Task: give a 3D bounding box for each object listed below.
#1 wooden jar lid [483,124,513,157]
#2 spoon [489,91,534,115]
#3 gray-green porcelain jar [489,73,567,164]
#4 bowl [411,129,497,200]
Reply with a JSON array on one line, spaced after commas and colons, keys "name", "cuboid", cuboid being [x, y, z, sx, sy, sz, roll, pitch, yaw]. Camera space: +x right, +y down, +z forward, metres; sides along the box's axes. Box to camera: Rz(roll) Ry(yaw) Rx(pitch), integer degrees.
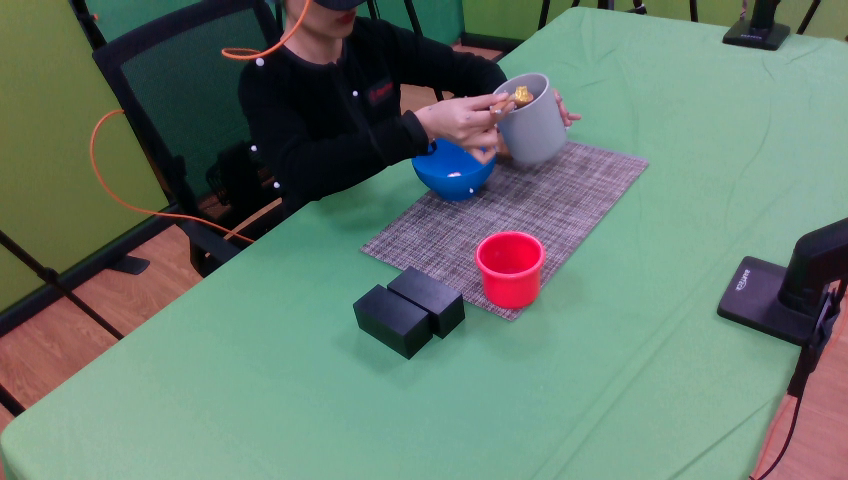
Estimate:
[{"name": "wooden jar lid", "cuboid": [0.165, -0.194, 1.177, 0.108, 0.021, 0.108, -4, 40, 4]}, {"name": "spoon", "cuboid": [0.132, -0.215, 0.940, 0.041, 0.021, 0.194, 12, 21, 20]}, {"name": "gray-green porcelain jar", "cuboid": [0.182, -0.203, 1.036, 0.105, 0.127, 0.105, -18, 41, 17]}, {"name": "bowl", "cuboid": [0.056, -0.124, 1.069, 0.151, 0.077, 0.150, -5, 40, 5]}]
